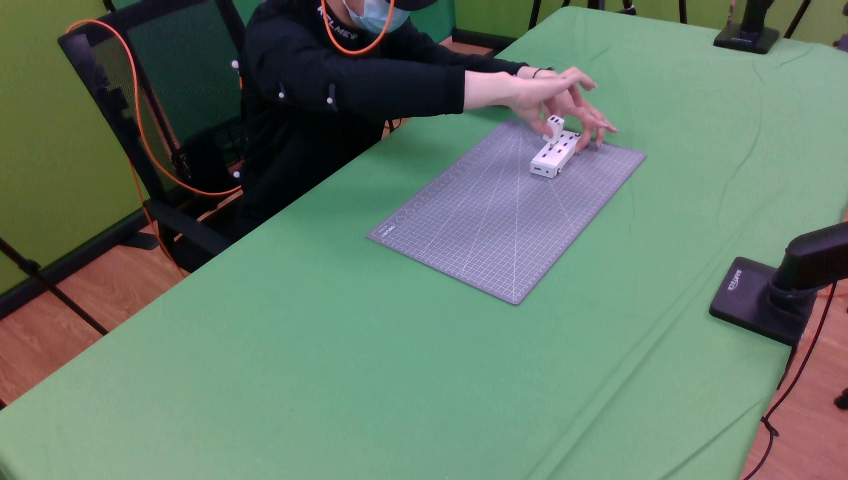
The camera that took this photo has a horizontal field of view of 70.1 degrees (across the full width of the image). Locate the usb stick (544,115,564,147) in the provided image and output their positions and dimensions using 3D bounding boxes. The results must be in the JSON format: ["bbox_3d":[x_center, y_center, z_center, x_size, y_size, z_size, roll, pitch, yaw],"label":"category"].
[{"bbox_3d":[0.234,-0.194,1.087,0.027,0.059,0.021,32,60,27],"label":"usb stick"}]

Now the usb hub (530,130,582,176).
[{"bbox_3d":[0.245,-0.161,1.116,0.049,0.025,0.125,21,47,28],"label":"usb hub"}]
